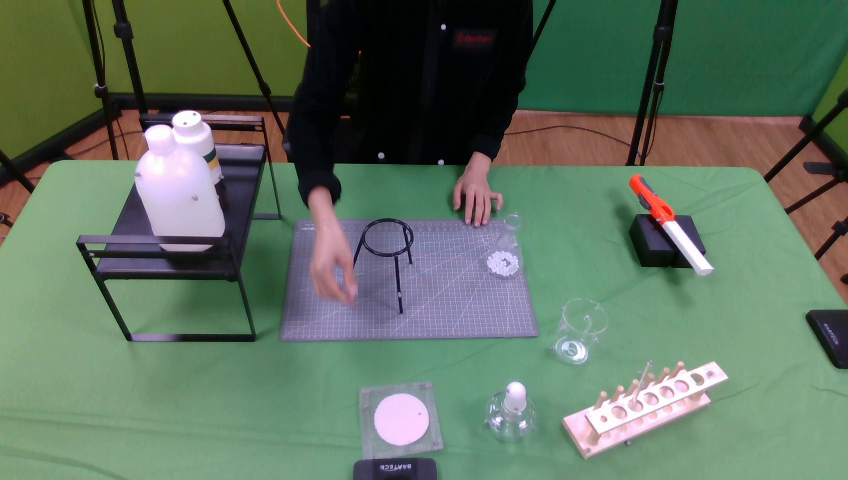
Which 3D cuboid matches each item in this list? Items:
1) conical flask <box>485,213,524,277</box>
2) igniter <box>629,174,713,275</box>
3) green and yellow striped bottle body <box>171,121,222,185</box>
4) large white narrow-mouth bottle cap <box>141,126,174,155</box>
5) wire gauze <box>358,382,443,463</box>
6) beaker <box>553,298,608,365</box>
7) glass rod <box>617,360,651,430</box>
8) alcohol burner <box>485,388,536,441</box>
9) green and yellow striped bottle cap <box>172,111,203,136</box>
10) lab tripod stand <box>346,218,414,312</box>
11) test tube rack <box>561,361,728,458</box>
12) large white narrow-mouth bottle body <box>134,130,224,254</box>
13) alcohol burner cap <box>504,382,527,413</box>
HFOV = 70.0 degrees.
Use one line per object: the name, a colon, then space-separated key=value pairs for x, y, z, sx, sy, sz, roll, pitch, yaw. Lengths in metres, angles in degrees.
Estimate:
conical flask: x=0.157 y=0.007 z=1.129 sx=0.075 sy=0.122 sz=0.075 roll=2 pitch=46 yaw=-2
igniter: x=0.481 y=-0.040 z=1.202 sx=0.057 sy=0.025 sz=0.274 roll=-1 pitch=46 yaw=-21
green and yellow striped bottle body: x=-0.375 y=-0.149 z=0.995 sx=0.063 sy=0.120 sz=0.063 roll=2 pitch=46 yaw=-2
large white narrow-mouth bottle cap: x=-0.356 y=-0.133 z=0.811 sx=0.038 sy=0.024 sz=0.037 roll=2 pitch=48 yaw=-2
wire gauze: x=-0.039 y=0.276 z=0.937 sx=0.121 sy=0.011 sz=0.124 roll=-4 pitch=47 yaw=-7
beaker: x=0.260 y=0.154 z=1.015 sx=0.073 sy=0.101 sz=0.084 roll=37 pitch=54 yaw=27
glass rod: x=0.298 y=0.226 z=0.865 sx=0.008 sy=0.201 sz=0.008 roll=-1 pitch=48 yaw=2
alcohol burner: x=0.131 y=0.249 z=0.904 sx=0.078 sy=0.120 sz=0.077 roll=1 pitch=48 yaw=-1
green and yellow striped bottle cap: x=-0.374 y=-0.185 z=0.958 sx=0.045 sy=0.020 sz=0.045 roll=4 pitch=46 yaw=-4
lab tripod stand: x=-0.070 y=0.037 z=1.075 sx=0.148 sy=0.132 sz=0.147 roll=1 pitch=48 yaw=-1
test tube rack: x=0.341 y=0.248 z=0.940 sx=0.243 sy=0.085 sz=0.066 roll=-15 pitch=49 yaw=-18
large white narrow-mouth bottle body: x=-0.358 y=-0.075 z=0.875 sx=0.102 sy=0.195 sz=0.101 roll=1 pitch=48 yaw=-1
alcohol burner cap: x=0.133 y=0.225 z=0.877 sx=0.034 sy=0.048 sz=0.033 roll=-4 pitch=47 yaw=4
